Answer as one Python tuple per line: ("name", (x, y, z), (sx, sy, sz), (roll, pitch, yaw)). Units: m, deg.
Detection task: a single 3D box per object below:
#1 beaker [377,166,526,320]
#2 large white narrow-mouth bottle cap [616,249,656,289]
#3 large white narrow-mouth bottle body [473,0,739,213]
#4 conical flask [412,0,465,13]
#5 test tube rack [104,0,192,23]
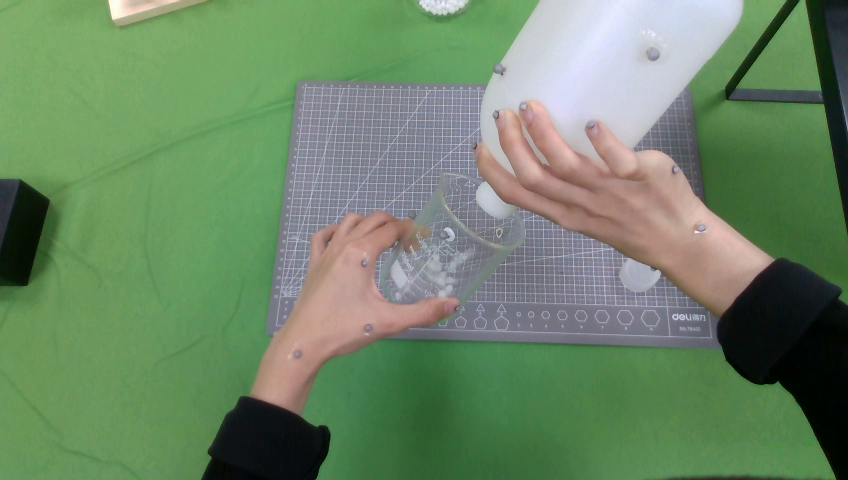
("beaker", (0.014, 0.005, 0.456), (0.074, 0.100, 0.083), (-17, 61, -50))
("large white narrow-mouth bottle cap", (0.213, 0.030, 0.608), (0.038, 0.024, 0.037), (-1, 71, 3))
("large white narrow-mouth bottle body", (0.092, -0.095, 0.383), (0.102, 0.195, 0.101), (22, 35, -17))
("conical flask", (0.016, -0.326, 0.688), (0.075, 0.122, 0.075), (-1, 70, 2))
("test tube rack", (-0.278, -0.346, 0.722), (0.242, 0.086, 0.066), (-19, 71, -5))
